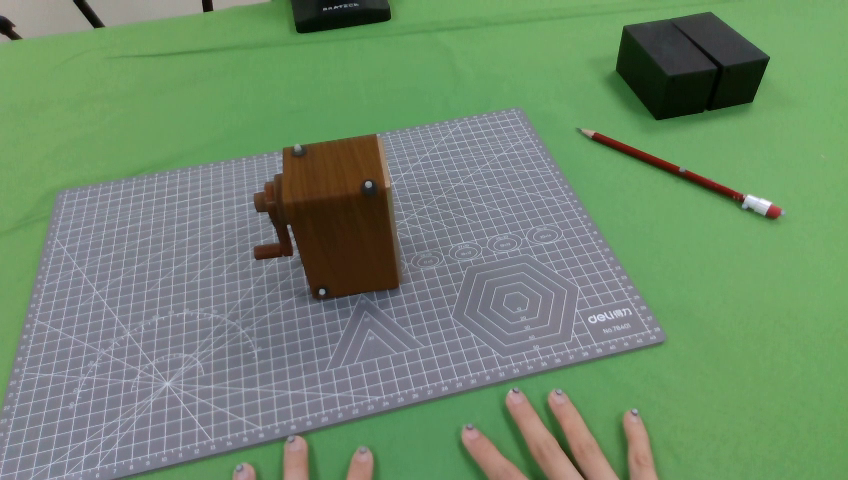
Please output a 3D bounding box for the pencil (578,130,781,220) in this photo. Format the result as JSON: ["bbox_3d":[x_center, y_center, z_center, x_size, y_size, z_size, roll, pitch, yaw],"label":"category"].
[{"bbox_3d":[0.221,-0.064,0.544,0.192,0.012,0.012,32,56,31],"label":"pencil"}]

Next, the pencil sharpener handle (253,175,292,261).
[{"bbox_3d":[-0.111,-0.012,0.426,0.031,0.068,0.035,-9,40,-4],"label":"pencil sharpener handle"}]

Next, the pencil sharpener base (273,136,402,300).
[{"bbox_3d":[-0.061,-0.013,0.441,0.077,0.108,0.060,-9,47,-4],"label":"pencil sharpener base"}]
